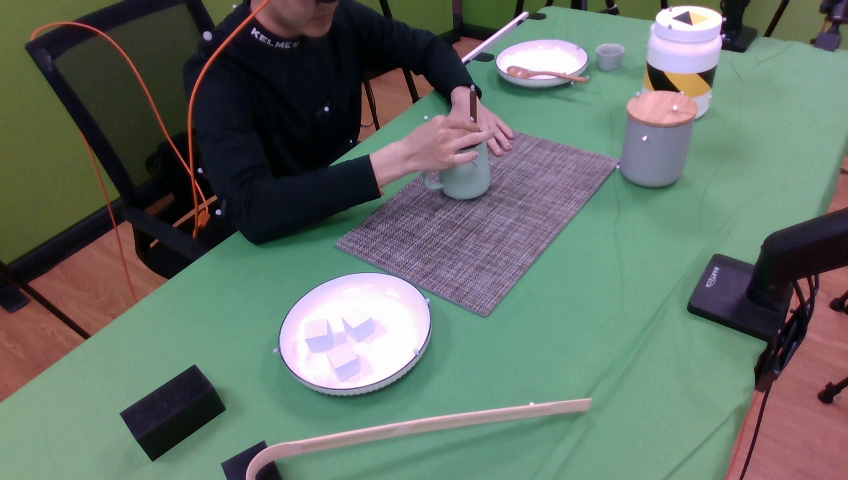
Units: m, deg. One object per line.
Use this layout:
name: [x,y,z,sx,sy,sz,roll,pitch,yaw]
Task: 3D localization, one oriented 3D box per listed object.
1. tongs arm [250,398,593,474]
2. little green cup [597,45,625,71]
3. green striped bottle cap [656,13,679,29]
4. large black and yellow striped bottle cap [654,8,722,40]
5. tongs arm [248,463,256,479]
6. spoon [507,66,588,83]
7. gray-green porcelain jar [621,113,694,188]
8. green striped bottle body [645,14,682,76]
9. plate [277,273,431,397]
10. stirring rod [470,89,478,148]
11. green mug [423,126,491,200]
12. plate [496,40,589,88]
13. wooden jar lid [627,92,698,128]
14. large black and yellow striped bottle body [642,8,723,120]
tongs arm: [0.008,0.212,0.675,0.389,0.028,0.028,-5,46,-11]
little green cup: [0.423,-0.413,1.375,0.061,0.039,0.061,-3,41,3]
green striped bottle cap: [0.515,-0.463,1.278,0.044,0.020,0.044,-6,42,6]
large black and yellow striped bottle cap: [0.483,-0.397,1.108,0.115,0.019,0.114,-3,41,3]
tongs arm: [0.012,0.262,0.615,0.385,0.026,0.050,3,41,-2]
spoon: [0.265,-0.357,1.311,0.192,0.022,0.042,18,47,38]
gray-green porcelain jar: [0.390,-0.161,1.020,0.106,0.127,0.105,-4,41,4]
green striped bottle body: [0.520,-0.424,1.312,0.063,0.120,0.063,-4,41,4]
plate: [-0.091,0.129,0.821,0.207,0.039,0.206,-4,40,4]
stirring rod: [0.085,-0.170,1.020,0.006,0.177,0.014,23,45,32]
green mug: [0.055,-0.126,1.039,0.126,0.105,0.091,-24,44,-19]
plate: [0.269,-0.398,1.381,0.209,0.038,0.208,-4,41,4]
wooden jar lid: [0.384,-0.207,0.980,0.108,0.021,0.108,-6,39,5]
large black and yellow striped bottle body: [0.493,-0.334,1.161,0.131,0.185,0.130,-4,41,4]
